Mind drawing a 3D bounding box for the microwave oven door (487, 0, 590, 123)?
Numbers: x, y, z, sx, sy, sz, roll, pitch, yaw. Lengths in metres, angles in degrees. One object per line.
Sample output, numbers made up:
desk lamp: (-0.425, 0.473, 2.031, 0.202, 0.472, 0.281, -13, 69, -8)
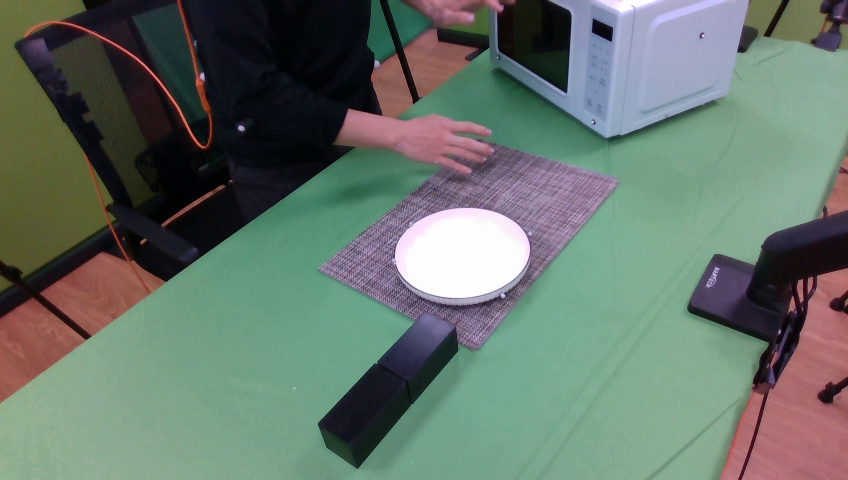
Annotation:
microwave oven door: (0.232, -0.420, 1.231, 0.039, 0.245, 0.352, -22, 43, -16)

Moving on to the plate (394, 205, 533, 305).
plate: (0.059, 0.025, 0.915, 0.207, 0.039, 0.206, -4, 41, 4)

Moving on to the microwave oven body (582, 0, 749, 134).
microwave oven body: (0.382, -0.444, 1.246, 0.327, 0.261, 0.437, -22, 42, -16)

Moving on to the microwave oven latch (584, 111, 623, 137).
microwave oven latch: (0.337, -0.222, 1.142, 0.030, 0.029, 0.078, -21, 42, -14)
